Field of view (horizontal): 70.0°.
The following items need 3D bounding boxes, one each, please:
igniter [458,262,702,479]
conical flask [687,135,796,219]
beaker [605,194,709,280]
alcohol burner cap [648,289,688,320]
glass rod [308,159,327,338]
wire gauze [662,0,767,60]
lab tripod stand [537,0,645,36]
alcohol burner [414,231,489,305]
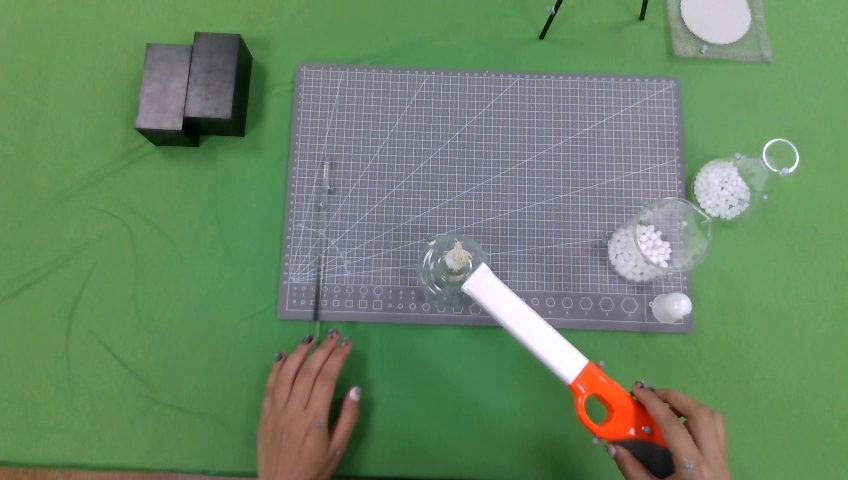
[{"bbox_3d":[0.141,0.124,0.538,0.276,0.025,0.057,43,76,2],"label":"igniter"},{"bbox_3d":[0.336,-0.071,0.634,0.075,0.122,0.075,0,78,0],"label":"conical flask"},{"bbox_3d":[0.236,0.000,0.627,0.084,0.100,0.073,-22,80,-5],"label":"beaker"},{"bbox_3d":[0.262,0.067,0.644,0.034,0.048,0.033,0,78,-1],"label":"alcohol burner cap"},{"bbox_3d":[-0.116,0.007,0.665,0.008,0.008,0.199,3,82,-1],"label":"glass rod"},{"bbox_3d":[0.350,-0.276,0.732,0.125,0.011,0.121,1,79,-3],"label":"wire gauze"},{"bbox_3d":[0.191,-0.303,0.671,0.148,0.132,0.148,0,81,-1],"label":"lab tripod stand"},{"bbox_3d":[0.028,0.025,0.611,0.078,0.119,0.077,0,77,1],"label":"alcohol burner"}]
